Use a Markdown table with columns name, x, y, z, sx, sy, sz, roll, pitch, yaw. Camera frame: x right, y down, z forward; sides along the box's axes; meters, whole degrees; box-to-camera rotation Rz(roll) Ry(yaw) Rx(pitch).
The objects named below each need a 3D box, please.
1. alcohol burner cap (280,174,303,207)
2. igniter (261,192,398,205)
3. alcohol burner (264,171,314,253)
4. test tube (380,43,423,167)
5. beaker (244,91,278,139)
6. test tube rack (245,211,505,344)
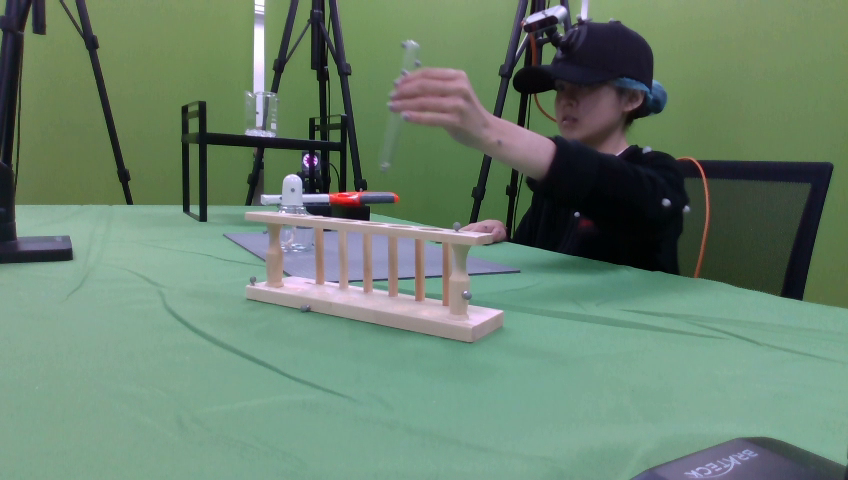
| name | x | y | z | sx | sy | sz | roll | pitch | yaw |
| --- | --- | --- | --- | --- | --- | --- | --- | --- | --- |
| alcohol burner cap | -0.194 | -0.072 | 0.884 | 0.034 | 0.048 | 0.034 | 0 | 5 | 0 |
| igniter | -0.185 | -0.083 | 1.217 | 0.278 | 0.025 | 0.057 | -2 | 12 | -25 |
| alcohol burner | -0.194 | -0.042 | 0.888 | 0.078 | 0.119 | 0.078 | 3 | 5 | 0 |
| test tube | -0.027 | -0.161 | 0.726 | 0.017 | 0.150 | 0.017 | 15 | 6 | -1 |
| beaker | -0.368 | -0.280 | 1.356 | 0.074 | 0.100 | 0.084 | 4 | 8 | 6 |
| test tube rack | -0.049 | 0.025 | 0.547 | 0.241 | 0.085 | 0.067 | 7 | 8 | 29 |
